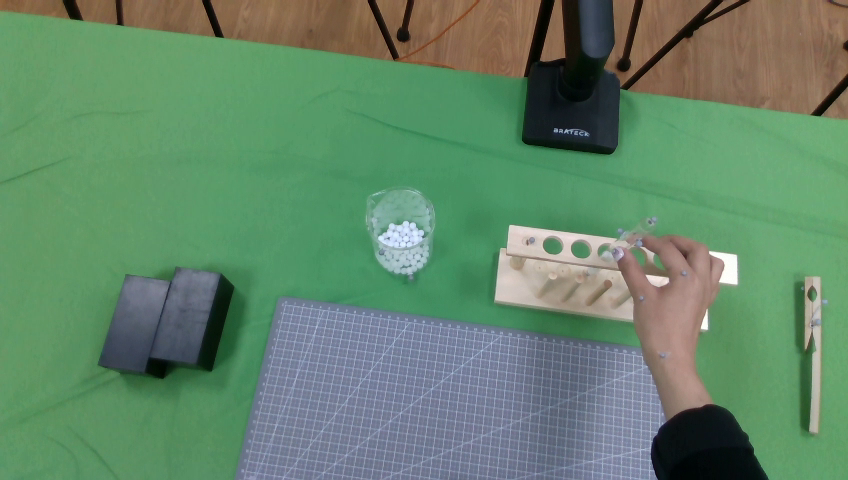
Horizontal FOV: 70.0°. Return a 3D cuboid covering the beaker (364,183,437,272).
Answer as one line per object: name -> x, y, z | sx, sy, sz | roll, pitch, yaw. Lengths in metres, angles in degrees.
beaker -> -0.028, -0.011, 0.681 | 0.083, 0.101, 0.074 | 35, 73, 12

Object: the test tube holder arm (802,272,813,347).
test tube holder arm -> 0.445, 0.081, 0.702 | 0.010, 0.015, 0.087 | -3, 67, 36

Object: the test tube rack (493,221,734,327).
test tube rack -> 0.205, 0.040, 0.675 | 0.242, 0.085, 0.066 | 8, 70, 2

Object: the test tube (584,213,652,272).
test tube -> 0.198, 0.006, 0.633 | 0.017, 0.151, 0.017 | 2, 70, -5

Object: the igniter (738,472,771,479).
igniter -> 0.312, 0.370, 0.590 | 0.057, 0.025, 0.275 | 18, 71, -6

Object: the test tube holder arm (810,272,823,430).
test tube holder arm -> 0.442, 0.122, 0.684 | 0.013, 0.015, 0.177 | -5, 66, 35
